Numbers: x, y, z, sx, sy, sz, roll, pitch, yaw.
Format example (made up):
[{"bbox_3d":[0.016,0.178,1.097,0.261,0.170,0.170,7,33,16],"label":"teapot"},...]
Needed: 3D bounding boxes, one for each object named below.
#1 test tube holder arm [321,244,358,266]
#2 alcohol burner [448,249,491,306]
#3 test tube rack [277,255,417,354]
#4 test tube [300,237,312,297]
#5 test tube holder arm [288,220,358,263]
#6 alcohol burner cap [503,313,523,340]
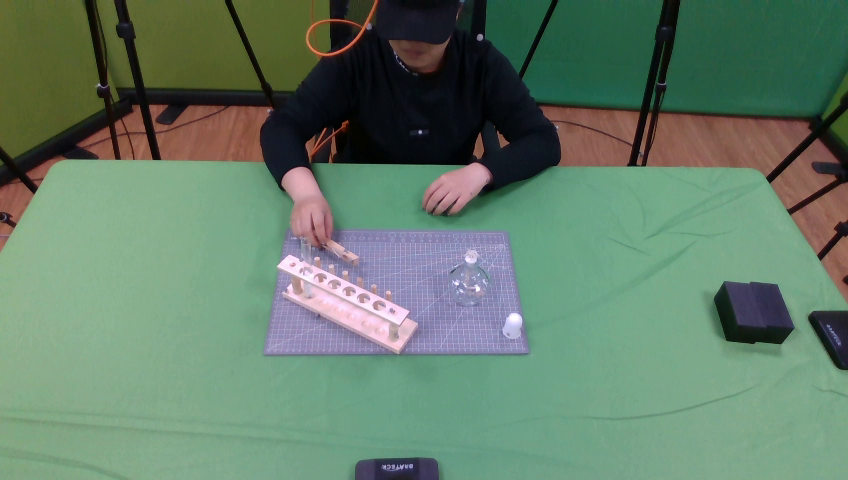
[{"bbox_3d":[-0.162,0.025,1.149,0.087,0.010,0.015,30,38,26],"label":"test tube holder arm"},{"bbox_3d":[0.081,0.062,1.078,0.078,0.120,0.077,1,45,-1],"label":"alcohol burner"},{"bbox_3d":[-0.131,0.099,1.045,0.241,0.085,0.066,23,49,17],"label":"test tube rack"},{"bbox_3d":[-0.198,0.050,1.019,0.017,0.151,0.017,4,49,-5],"label":"test tube"},{"bbox_3d":[-0.196,0.000,1.166,0.177,0.013,0.015,29,38,27],"label":"test tube holder arm"},{"bbox_3d":[0.156,0.148,1.051,0.034,0.048,0.033,1,45,-1],"label":"alcohol burner cap"}]
